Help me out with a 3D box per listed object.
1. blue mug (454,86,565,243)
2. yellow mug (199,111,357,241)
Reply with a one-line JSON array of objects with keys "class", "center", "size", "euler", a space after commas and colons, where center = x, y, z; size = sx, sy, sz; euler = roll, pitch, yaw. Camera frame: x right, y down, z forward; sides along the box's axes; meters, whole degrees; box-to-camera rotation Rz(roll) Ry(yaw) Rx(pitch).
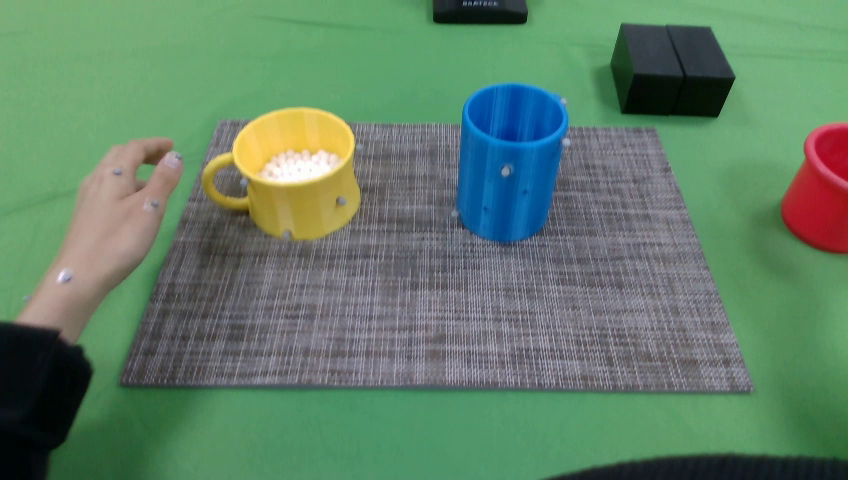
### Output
[{"class": "blue mug", "center": [0.079, -0.070, 0.515], "size": [0.081, 0.107, 0.116], "euler": [37, 57, 28]}, {"class": "yellow mug", "center": [-0.125, -0.053, 0.521], "size": [0.131, 0.064, 0.099], "euler": [-11, 49, -10]}]
